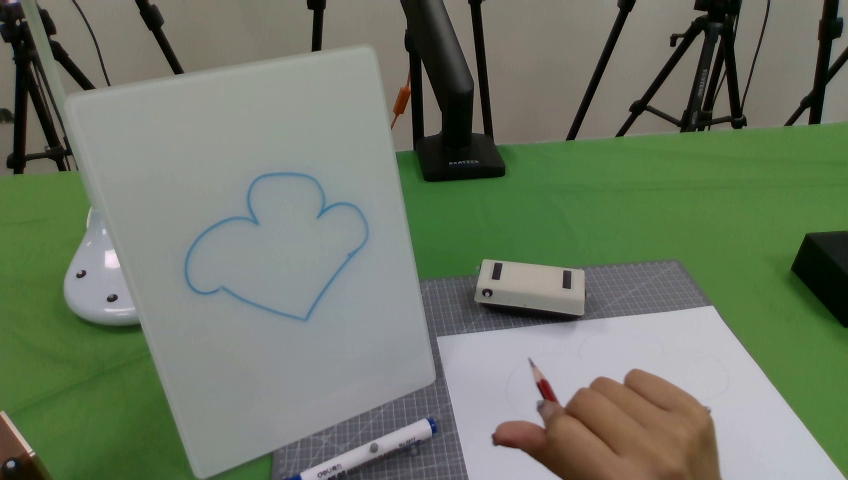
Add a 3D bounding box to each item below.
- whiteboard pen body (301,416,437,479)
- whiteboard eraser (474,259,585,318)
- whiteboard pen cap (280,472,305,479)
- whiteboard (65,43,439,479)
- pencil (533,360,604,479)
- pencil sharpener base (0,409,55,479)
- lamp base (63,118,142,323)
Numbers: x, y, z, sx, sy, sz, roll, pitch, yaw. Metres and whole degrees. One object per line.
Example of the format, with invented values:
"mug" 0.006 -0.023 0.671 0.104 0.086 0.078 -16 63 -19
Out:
"whiteboard pen body" -0.053 0.173 0.483 0.141 0.017 0.017 -17 39 -21
"whiteboard eraser" 0.112 0.052 0.637 0.112 0.042 0.055 7 37 9
"whiteboard pen cap" -0.106 0.190 0.461 0.033 0.018 0.018 -18 40 -21
"whiteboard" -0.135 0.006 0.529 0.218 0.307 0.142 -18 20 -21
"pencil" 0.094 0.135 0.302 0.012 0.012 0.192 -10 43 -13
"pencil sharpener base" -0.291 0.181 0.405 0.061 0.108 0.076 27 45 32
"lamp base" -0.322 -0.031 0.636 0.178 0.182 0.160 20 40 29
